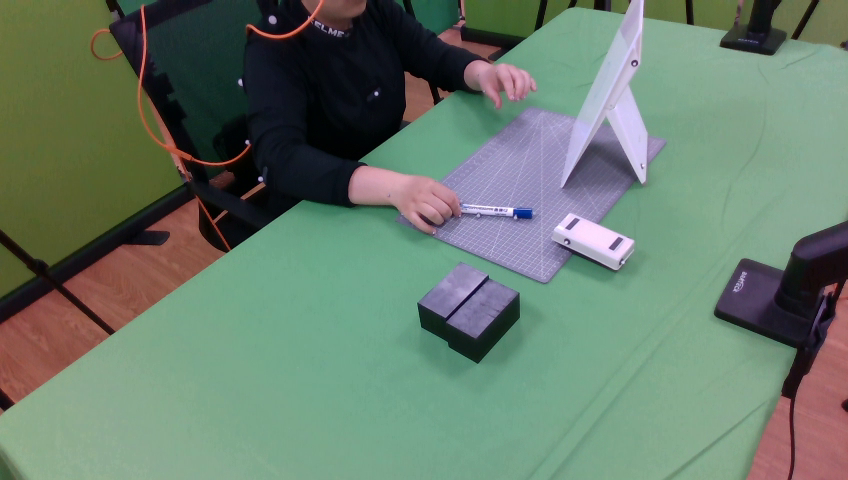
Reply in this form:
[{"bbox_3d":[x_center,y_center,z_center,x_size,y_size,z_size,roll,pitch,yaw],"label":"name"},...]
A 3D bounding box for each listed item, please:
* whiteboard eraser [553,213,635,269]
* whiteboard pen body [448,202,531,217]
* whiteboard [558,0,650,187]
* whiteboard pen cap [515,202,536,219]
[{"bbox_3d":[0.257,0.003,0.918,0.112,0.042,0.056,27,49,30],"label":"whiteboard eraser"},{"bbox_3d":[0.110,-0.050,1.020,0.140,0.017,0.017,7,42,14],"label":"whiteboard pen body"},{"bbox_3d":[0.362,-0.238,1.026,0.144,0.306,0.217,21,45,4],"label":"whiteboard"},{"bbox_3d":[0.170,-0.048,1.004,0.033,0.018,0.018,-30,45,-14],"label":"whiteboard pen cap"}]
